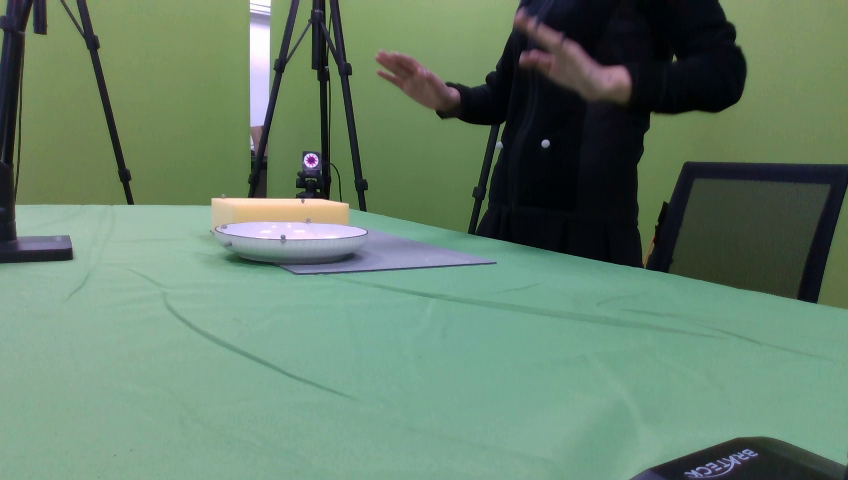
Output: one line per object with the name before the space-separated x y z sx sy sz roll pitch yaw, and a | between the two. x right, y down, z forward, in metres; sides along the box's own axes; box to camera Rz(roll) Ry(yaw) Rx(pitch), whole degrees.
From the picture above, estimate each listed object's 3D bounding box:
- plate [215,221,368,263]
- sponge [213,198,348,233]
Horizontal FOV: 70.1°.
plate | -0.182 0.002 0.846 0.209 0.038 0.209 2 7 0
sponge | -0.251 -0.039 1.059 0.208 0.061 0.117 -3 9 -36
